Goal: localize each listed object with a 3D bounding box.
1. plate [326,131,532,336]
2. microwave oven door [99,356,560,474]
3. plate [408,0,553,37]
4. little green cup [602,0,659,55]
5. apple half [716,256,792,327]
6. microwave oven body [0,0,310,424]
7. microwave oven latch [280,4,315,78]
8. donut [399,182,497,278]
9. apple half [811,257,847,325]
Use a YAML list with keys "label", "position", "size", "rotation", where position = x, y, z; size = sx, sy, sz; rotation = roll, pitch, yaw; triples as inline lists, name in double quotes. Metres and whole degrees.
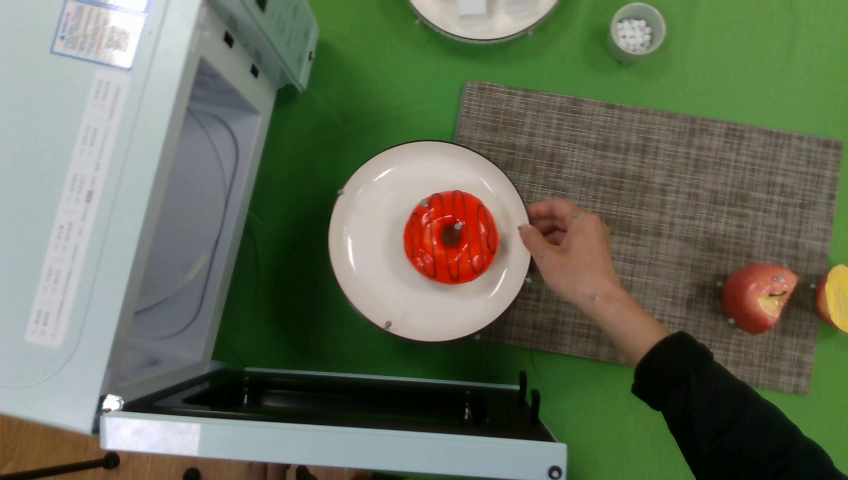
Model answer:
- label: "plate"
  position: [0.005, -0.006, 0.623]
  size: [0.209, 0.038, 0.208]
  rotation: [0, 84, -2]
- label: "microwave oven door"
  position: [-0.069, 0.156, 0.572]
  size: [0.356, 0.244, 0.039]
  rotation: [4, 86, 1]
- label: "plate"
  position: [0.066, -0.337, 0.713]
  size: [0.208, 0.039, 0.207]
  rotation: [0, 87, 1]
- label: "little green cup"
  position: [0.238, -0.247, 0.706]
  size: [0.061, 0.038, 0.061]
  rotation: [0, 87, 1]
- label: "apple half"
  position: [0.355, 0.050, 0.670]
  size: [0.053, 0.075, 0.081]
  rotation: [29, 92, 6]
- label: "microwave oven body"
  position: [-0.332, -0.094, 0.592]
  size: [0.326, 0.260, 0.441]
  rotation: [13, 88, 1]
- label: "microwave oven latch"
  position: [-0.147, -0.229, 0.691]
  size: [0.030, 0.029, 0.079]
  rotation: [15, 88, 1]
- label: "donut"
  position: [0.024, -0.010, 0.613]
  size: [0.099, 0.048, 0.099]
  rotation: [0, 85, -2]
- label: "apple half"
  position: [0.456, 0.059, 0.684]
  size: [0.082, 0.032, 0.081]
  rotation: [8, 75, -30]
